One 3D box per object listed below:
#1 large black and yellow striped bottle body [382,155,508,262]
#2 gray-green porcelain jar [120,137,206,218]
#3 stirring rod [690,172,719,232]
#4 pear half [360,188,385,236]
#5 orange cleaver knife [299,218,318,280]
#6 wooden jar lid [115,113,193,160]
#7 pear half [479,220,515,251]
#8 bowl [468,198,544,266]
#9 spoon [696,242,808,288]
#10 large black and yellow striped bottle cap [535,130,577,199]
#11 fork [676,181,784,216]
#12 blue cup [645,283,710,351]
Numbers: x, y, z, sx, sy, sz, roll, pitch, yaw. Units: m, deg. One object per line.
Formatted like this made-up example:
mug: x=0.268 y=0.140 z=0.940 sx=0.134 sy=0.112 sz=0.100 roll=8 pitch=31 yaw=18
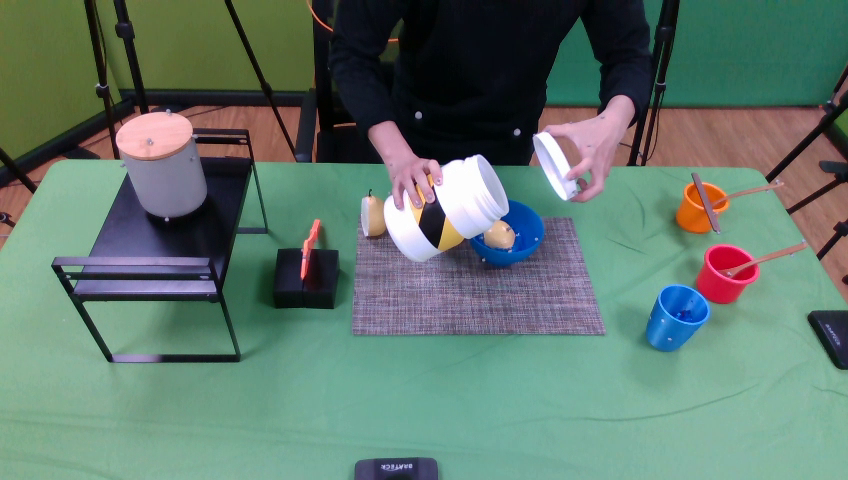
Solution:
large black and yellow striped bottle body: x=0.036 y=-0.055 z=1.022 sx=0.184 sy=0.131 sz=0.130 roll=-25 pitch=43 yaw=20
gray-green porcelain jar: x=-0.403 y=-0.106 z=0.946 sx=0.106 sy=0.127 sz=0.105 roll=3 pitch=46 yaw=-2
stirring rod: x=0.566 y=-0.080 z=1.224 sx=0.014 sy=0.006 sz=0.175 roll=3 pitch=46 yaw=1
pear half: x=-0.096 y=-0.060 z=1.181 sx=0.056 sy=0.110 sz=0.076 roll=-14 pitch=52 yaw=-17
orange cleaver knife: x=-0.214 y=0.013 z=1.125 sx=0.012 sy=0.077 sz=0.210 roll=6 pitch=17 yaw=-5
wooden jar lid: x=-0.399 y=-0.151 z=0.900 sx=0.108 sy=0.021 sz=0.107 roll=3 pitch=46 yaw=-3
pear half: x=0.145 y=-0.013 z=1.167 sx=0.070 sy=0.031 sz=0.087 roll=-22 pitch=55 yaw=-20
bowl: x=0.149 y=-0.004 z=1.167 sx=0.151 sy=0.077 sz=0.150 roll=2 pitch=46 yaw=-2
spoon: x=0.601 y=0.044 z=1.116 sx=0.194 sy=0.022 sz=0.041 roll=-29 pitch=34 yaw=30
large black and yellow striped bottle cap: x=0.209 y=-0.120 z=0.963 sx=0.019 sy=0.116 sz=0.114 roll=-26 pitch=49 yaw=4
fork: x=0.618 y=-0.084 z=1.235 sx=0.207 sy=0.019 sz=0.028 roll=-23 pitch=21 yaw=38
blue cup: x=0.426 y=0.139 z=1.041 sx=0.093 sy=0.101 sz=0.092 roll=3 pitch=46 yaw=-3
